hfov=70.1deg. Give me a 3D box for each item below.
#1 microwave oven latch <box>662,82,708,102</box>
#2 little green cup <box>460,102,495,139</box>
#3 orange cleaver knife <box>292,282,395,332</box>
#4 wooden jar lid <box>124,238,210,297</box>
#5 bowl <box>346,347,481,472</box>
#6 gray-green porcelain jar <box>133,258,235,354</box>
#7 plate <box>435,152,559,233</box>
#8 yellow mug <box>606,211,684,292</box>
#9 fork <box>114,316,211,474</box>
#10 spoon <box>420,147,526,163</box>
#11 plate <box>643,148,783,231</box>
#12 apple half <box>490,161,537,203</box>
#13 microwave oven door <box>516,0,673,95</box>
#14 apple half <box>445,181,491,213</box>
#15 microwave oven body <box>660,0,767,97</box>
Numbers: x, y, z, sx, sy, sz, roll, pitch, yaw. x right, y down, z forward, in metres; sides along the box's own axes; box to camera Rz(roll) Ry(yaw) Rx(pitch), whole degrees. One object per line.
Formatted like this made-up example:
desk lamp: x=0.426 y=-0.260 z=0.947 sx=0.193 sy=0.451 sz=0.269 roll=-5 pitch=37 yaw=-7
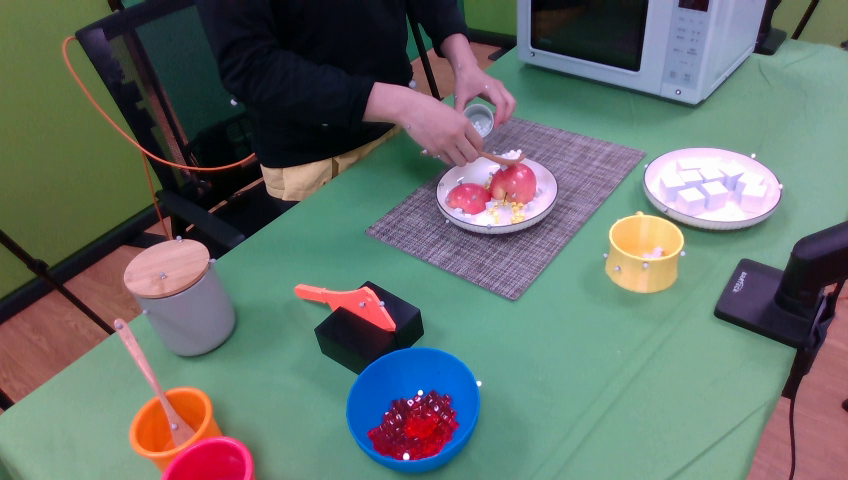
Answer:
microwave oven latch: x=0.518 y=-0.298 z=1.202 sx=0.078 sy=0.029 sz=0.030 roll=28 pitch=53 yaw=35
little green cup: x=0.095 y=-0.208 z=1.064 sx=0.061 sy=0.039 sz=0.061 roll=-1 pitch=84 yaw=9
orange cleaver knife: x=-0.116 y=0.091 z=0.835 sx=0.209 sy=0.077 sz=0.012 roll=2 pitch=32 yaw=48
wooden jar lid: x=-0.335 y=0.039 z=0.794 sx=0.108 sy=0.021 sz=0.108 roll=-2 pitch=40 yaw=2
bowl: x=-0.008 y=0.205 z=0.691 sx=0.151 sy=0.077 sz=0.150 roll=-4 pitch=40 yaw=4
gray-green porcelain jar: x=-0.328 y=0.086 z=0.836 sx=0.106 sy=0.127 sz=0.105 roll=-4 pitch=41 yaw=4
plate: x=0.124 y=-0.078 z=1.026 sx=0.209 sy=0.038 sz=0.208 roll=-4 pitch=40 yaw=4
yellow mug: x=0.318 y=0.008 z=0.883 sx=0.100 sy=0.064 sz=0.130 roll=0 pitch=41 yaw=9
fork: x=-0.309 y=0.179 z=0.708 sx=0.028 sy=0.018 sz=0.207 roll=-30 pitch=89 yaw=-24
spoon: x=0.080 y=-0.138 z=0.960 sx=0.195 sy=0.021 sz=0.041 roll=3 pitch=16 yaw=-29
plate: x=0.464 y=-0.080 z=0.986 sx=0.207 sy=0.039 sz=0.206 roll=-4 pitch=41 yaw=4
apple half: x=0.154 y=-0.106 z=1.030 sx=0.080 sy=0.053 sz=0.075 roll=22 pitch=46 yaw=31
microwave oven door: x=0.344 y=-0.458 z=1.257 sx=0.353 sy=0.245 sz=0.039 roll=26 pitch=52 yaw=33
apple half: x=0.076 y=-0.083 z=1.030 sx=0.081 sy=0.033 sz=0.081 roll=-1 pitch=42 yaw=1
microwave oven body: x=0.474 y=-0.516 z=1.313 sx=0.438 sy=0.261 sz=0.327 roll=26 pitch=51 yaw=34
